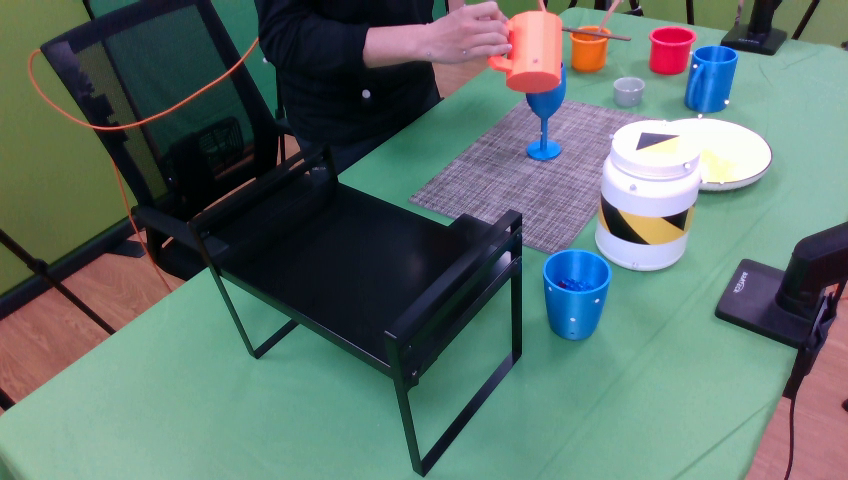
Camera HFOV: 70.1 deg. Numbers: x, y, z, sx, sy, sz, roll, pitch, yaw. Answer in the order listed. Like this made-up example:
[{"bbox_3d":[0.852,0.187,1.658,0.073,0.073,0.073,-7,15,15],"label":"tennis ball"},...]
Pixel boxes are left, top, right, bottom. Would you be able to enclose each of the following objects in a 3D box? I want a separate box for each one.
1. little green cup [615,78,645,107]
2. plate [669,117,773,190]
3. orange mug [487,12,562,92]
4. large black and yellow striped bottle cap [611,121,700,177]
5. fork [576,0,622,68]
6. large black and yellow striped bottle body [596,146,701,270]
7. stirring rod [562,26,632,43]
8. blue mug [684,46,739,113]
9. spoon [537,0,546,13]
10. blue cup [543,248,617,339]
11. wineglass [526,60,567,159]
[{"bbox_3d":[0.426,-0.306,1.257,0.061,0.039,0.061,-4,40,4],"label":"little green cup"},{"bbox_3d":[0.495,-0.149,1.063,0.209,0.038,0.208,-5,40,4],"label":"plate"},{"bbox_3d":[0.158,-0.298,0.951,0.127,0.083,0.100,10,80,-23],"label":"orange mug"},{"bbox_3d":[0.315,-0.126,0.823,0.115,0.019,0.114,-4,42,4],"label":"large black and yellow striped bottle cap"},{"bbox_3d":[0.409,-0.484,1.381,0.028,0.019,0.207,37,101,46],"label":"fork"},{"bbox_3d":[0.323,-0.062,0.877,0.131,0.185,0.130,-5,40,4],"label":"large black and yellow striped bottle body"},{"bbox_3d":[0.381,-0.462,1.356,0.175,0.006,0.014,23,48,29],"label":"stirring rod"},{"bbox_3d":[0.556,-0.310,1.190,0.117,0.106,0.081,-32,46,-25],"label":"blue mug"},{"bbox_3d":[0.186,-0.399,0.966,0.022,0.193,0.041,-6,7,-8],"label":"spoon"},{"bbox_3d":[0.199,0.076,0.797,0.092,0.100,0.092,-4,39,4],"label":"blue cup"},{"bbox_3d":[0.221,-0.237,1.097,0.074,0.173,0.073,-4,41,4],"label":"wineglass"}]
